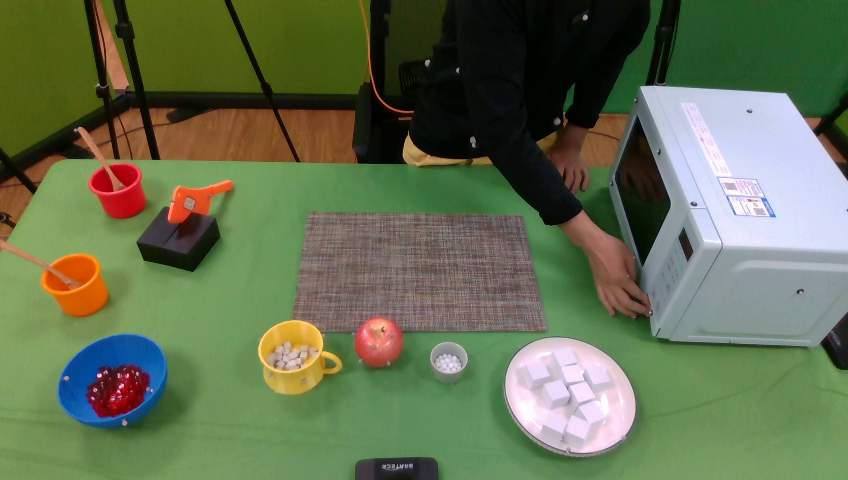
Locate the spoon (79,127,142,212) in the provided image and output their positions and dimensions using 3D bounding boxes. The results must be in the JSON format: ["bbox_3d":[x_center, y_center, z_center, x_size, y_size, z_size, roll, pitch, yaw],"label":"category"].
[{"bbox_3d":[-0.623,-0.139,1.203,0.041,0.021,0.194,-33,101,-27],"label":"spoon"}]

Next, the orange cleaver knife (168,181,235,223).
[{"bbox_3d":[-0.435,-0.077,1.196,0.012,0.077,0.211,16,15,10],"label":"orange cleaver knife"}]

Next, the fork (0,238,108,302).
[{"bbox_3d":[-0.632,0.048,1.017,0.208,0.018,0.028,39,43,-27],"label":"fork"}]

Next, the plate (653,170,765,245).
[{"bbox_3d":[0.556,-0.060,1.195,0.209,0.038,0.208,1,45,-1],"label":"plate"}]

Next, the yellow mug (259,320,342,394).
[{"bbox_3d":[-0.195,0.189,0.971,0.131,0.064,0.099,9,46,4],"label":"yellow mug"}]

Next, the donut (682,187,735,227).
[{"bbox_3d":[0.554,-0.067,1.184,0.099,0.048,0.098,2,45,-2],"label":"donut"}]

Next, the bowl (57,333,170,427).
[{"bbox_3d":[-0.455,0.223,0.912,0.151,0.077,0.150,3,45,-2],"label":"bowl"}]

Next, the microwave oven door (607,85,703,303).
[{"bbox_3d":[0.423,-0.094,1.140,0.039,0.245,0.353,2,46,-1],"label":"microwave oven door"}]

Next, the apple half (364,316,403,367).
[{"bbox_3d":[-0.062,0.165,0.999,0.053,0.075,0.080,-16,45,-24],"label":"apple half"}]

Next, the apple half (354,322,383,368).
[{"bbox_3d":[-0.097,0.177,0.984,0.033,0.081,0.081,-16,49,-24],"label":"apple half"}]

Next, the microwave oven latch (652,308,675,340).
[{"bbox_3d":[0.417,0.136,1.059,0.030,0.029,0.079,10,46,7],"label":"microwave oven latch"}]

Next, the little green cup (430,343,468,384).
[{"bbox_3d":[0.040,0.204,0.993,0.061,0.039,0.061,3,46,-2],"label":"little green cup"}]

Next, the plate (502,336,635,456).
[{"bbox_3d":[0.226,0.248,0.963,0.208,0.039,0.206,2,46,-2],"label":"plate"}]

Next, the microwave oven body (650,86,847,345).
[{"bbox_3d":[0.568,-0.053,1.118,0.326,0.261,0.439,2,45,-1],"label":"microwave oven body"}]
